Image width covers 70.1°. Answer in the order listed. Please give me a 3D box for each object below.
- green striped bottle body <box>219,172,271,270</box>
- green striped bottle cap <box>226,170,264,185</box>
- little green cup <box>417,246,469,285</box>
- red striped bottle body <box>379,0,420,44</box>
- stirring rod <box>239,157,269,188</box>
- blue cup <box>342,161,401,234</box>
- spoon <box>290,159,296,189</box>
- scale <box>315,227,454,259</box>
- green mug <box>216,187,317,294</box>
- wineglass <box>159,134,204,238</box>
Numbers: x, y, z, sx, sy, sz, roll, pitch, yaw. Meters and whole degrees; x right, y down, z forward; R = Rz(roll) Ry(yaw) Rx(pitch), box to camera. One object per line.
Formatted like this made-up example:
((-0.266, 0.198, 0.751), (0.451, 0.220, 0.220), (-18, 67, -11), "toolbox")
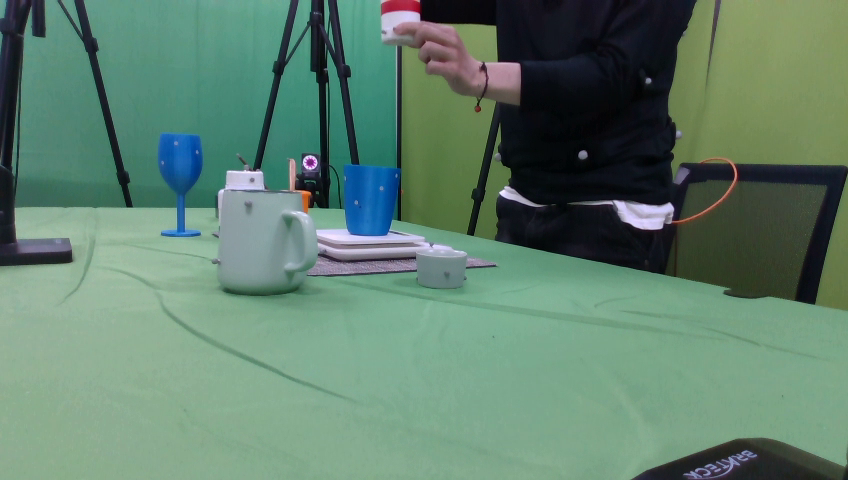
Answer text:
((-0.223, -0.025, 0.755), (0.063, 0.119, 0.063), (2, 7, 0), "green striped bottle body")
((-0.222, -0.076, 0.748), (0.044, 0.020, 0.044), (1, 7, 0), "green striped bottle cap")
((0.021, 0.029, 0.701), (0.061, 0.038, 0.061), (1, 6, 0), "little green cup")
((-0.040, -0.372, 0.942), (0.063, 0.119, 0.063), (-3, 7, 1), "red striped bottle body")
((-0.309, -0.098, 1.209), (0.006, 0.177, 0.014), (-39, 29, -4), "stirring rod")
((-0.079, -0.061, 0.882), (0.093, 0.100, 0.092), (4, 5, 0), "blue cup")
((-0.273, -0.102, 1.252), (0.042, 0.193, 0.021), (7, -38, -17), "spoon")
((-0.066, 0.001, 0.906), (0.202, 0.031, 0.148), (-2, 8, -31), "scale")
((-0.157, 0.000, 0.629), (0.124, 0.105, 0.093), (7, 9, 37), "green mug")
((-0.415, -0.093, 1.040), (0.074, 0.172, 0.073), (2, 7, 0), "wineglass")
